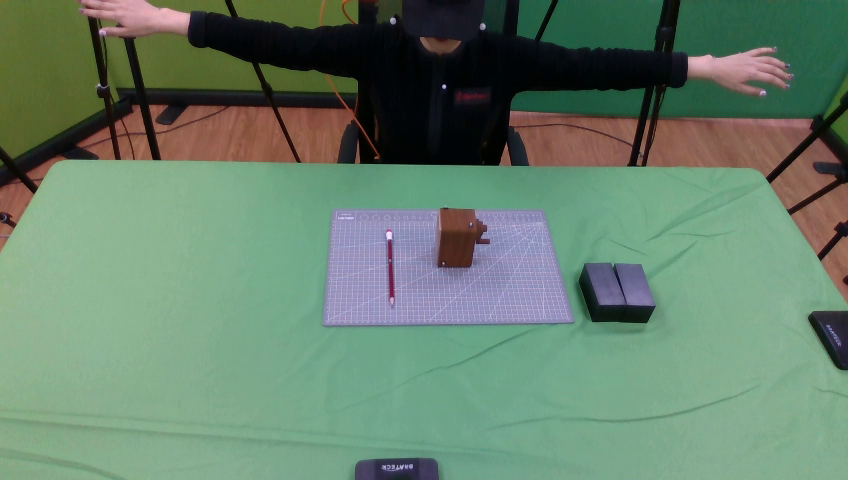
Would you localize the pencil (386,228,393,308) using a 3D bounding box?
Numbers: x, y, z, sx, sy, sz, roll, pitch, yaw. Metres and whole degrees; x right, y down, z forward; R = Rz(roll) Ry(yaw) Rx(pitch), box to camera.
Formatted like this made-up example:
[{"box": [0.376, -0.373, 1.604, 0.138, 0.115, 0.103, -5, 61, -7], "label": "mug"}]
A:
[{"box": [-0.065, 0.050, 1.152, 0.012, 0.012, 0.193, -1, 48, -4], "label": "pencil"}]

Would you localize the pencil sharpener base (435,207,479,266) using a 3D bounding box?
[{"box": [0.061, -0.004, 1.144, 0.077, 0.107, 0.061, 1, 46, -4], "label": "pencil sharpener base"}]

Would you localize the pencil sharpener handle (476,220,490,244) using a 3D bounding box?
[{"box": [0.113, -0.014, 1.140, 0.031, 0.068, 0.036, 1, 56, -3], "label": "pencil sharpener handle"}]
